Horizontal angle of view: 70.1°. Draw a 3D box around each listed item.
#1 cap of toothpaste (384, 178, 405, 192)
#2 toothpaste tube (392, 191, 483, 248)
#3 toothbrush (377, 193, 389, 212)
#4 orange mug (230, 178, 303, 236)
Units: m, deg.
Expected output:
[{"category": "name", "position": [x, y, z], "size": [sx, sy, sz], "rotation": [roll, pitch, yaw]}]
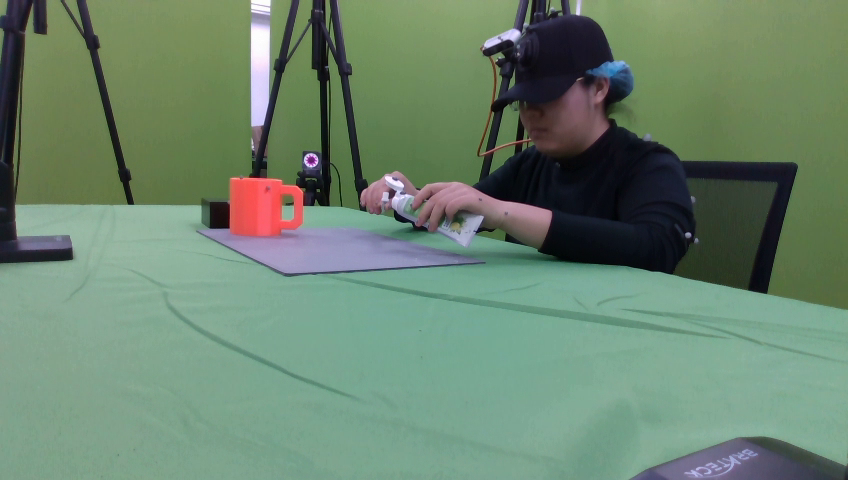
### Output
[{"category": "cap of toothpaste", "position": [-0.048, -0.088, 0.975], "size": [0.037, 0.011, 0.037], "rotation": [22, 25, -10]}, {"category": "toothpaste tube", "position": [0.014, -0.039, 0.932], "size": [0.164, 0.055, 0.035], "rotation": [25, -3, 34]}, {"category": "toothbrush", "position": [-0.073, -0.064, 1.069], "size": [0.014, 0.016, 0.181], "rotation": [4, -4, -6]}, {"category": "orange mug", "position": [-0.275, -0.060, 1.058], "size": [0.126, 0.101, 0.083], "rotation": [-2, 8, -5]}]
